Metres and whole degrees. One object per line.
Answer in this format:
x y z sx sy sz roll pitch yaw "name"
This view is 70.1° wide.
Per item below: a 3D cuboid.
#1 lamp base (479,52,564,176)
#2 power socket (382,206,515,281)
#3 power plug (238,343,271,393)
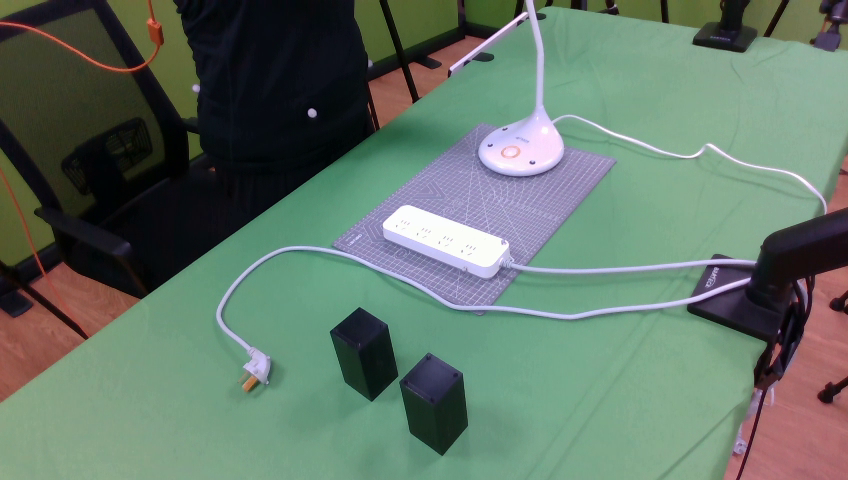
0.181 -0.235 1.094 0.159 0.181 0.179 18 44 27 "lamp base"
0.032 0.002 0.950 0.225 0.033 0.072 21 49 29 "power socket"
-0.230 0.172 0.801 0.072 0.035 0.053 9 51 50 "power plug"
